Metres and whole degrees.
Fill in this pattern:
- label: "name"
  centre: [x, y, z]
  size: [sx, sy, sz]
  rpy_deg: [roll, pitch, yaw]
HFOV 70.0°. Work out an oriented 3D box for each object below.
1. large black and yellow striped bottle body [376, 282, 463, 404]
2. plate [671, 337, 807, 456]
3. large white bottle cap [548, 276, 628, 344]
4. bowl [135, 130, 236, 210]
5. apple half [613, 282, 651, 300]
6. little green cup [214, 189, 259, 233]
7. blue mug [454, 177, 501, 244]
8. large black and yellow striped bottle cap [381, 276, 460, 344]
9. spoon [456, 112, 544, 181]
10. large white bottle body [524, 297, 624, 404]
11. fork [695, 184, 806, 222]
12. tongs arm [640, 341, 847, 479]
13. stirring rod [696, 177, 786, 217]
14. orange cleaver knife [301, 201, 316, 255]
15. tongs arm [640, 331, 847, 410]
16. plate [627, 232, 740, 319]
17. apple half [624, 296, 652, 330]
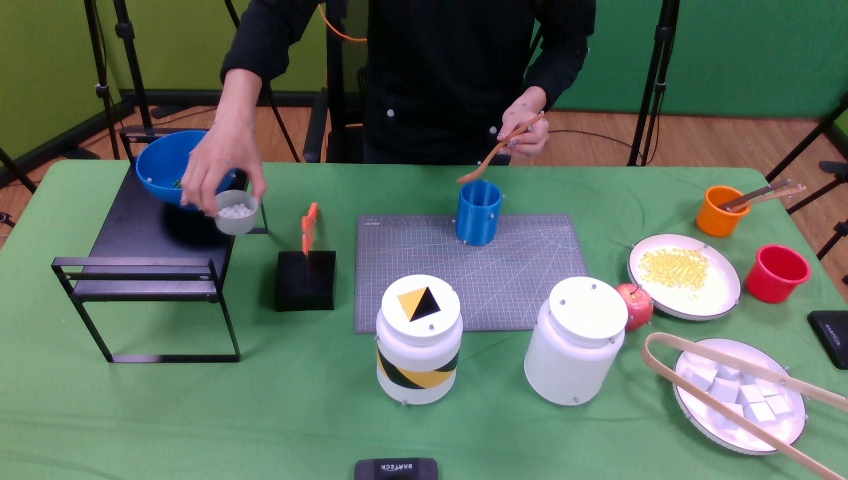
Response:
- label: "large black and yellow striped bottle body"
  centre: [-0.010, 0.155, 0.937]
  size: [0.131, 0.185, 0.130]
  rpy_deg: [2, 47, -2]
- label: "plate"
  centre: [0.503, 0.254, 0.984]
  size: [0.208, 0.039, 0.206]
  rpy_deg: [2, 46, -2]
- label: "large white bottle cap"
  centre: [0.240, 0.100, 0.890]
  size: [0.115, 0.018, 0.114]
  rpy_deg: [3, 47, -3]
- label: "bowl"
  centre: [-0.375, -0.102, 0.977]
  size: [0.151, 0.077, 0.150]
  rpy_deg: [2, 46, -2]
- label: "apple half"
  centre: [0.356, 0.109, 1.086]
  size: [0.081, 0.075, 0.053]
  rpy_deg: [-13, 44, -12]
- label: "little green cup"
  centre: [-0.270, -0.041, 0.874]
  size: [0.061, 0.039, 0.061]
  rpy_deg: [9, 44, -9]
- label: "blue mug"
  centre: [0.106, -0.067, 1.208]
  size: [0.082, 0.106, 0.116]
  rpy_deg: [6, 46, 1]
- label: "large black and yellow striped bottle cap"
  centre: [-0.005, 0.099, 0.875]
  size: [0.115, 0.019, 0.114]
  rpy_deg: [2, 45, -2]
- label: "spoon"
  centre: [0.123, -0.154, 1.015]
  size: [0.021, 0.194, 0.041]
  rpy_deg: [48, 34, -1]
- label: "large white bottle body"
  centre: [0.235, 0.159, 0.952]
  size: [0.131, 0.185, 0.130]
  rpy_deg: [2, 47, -2]
- label: "fork"
  centre: [0.658, -0.074, 1.230]
  size: [0.207, 0.019, 0.028]
  rpy_deg: [-24, 33, 36]
- label: "tongs arm"
  centre: [0.500, 0.278, 0.920]
  size: [0.386, 0.028, 0.028]
  rpy_deg: [34, 59, 22]
- label: "stirring rod"
  centre: [0.648, -0.087, 1.244]
  size: [0.176, 0.006, 0.014]
  rpy_deg: [-25, 50, 29]
- label: "orange cleaver knife"
  centre: [-0.221, -0.027, 1.160]
  size: [0.012, 0.077, 0.210]
  rpy_deg: [-1, 15, -4]
- label: "tongs arm"
  centre: [0.543, 0.226, 0.969]
  size: [0.384, 0.026, 0.050]
  rpy_deg: [22, 52, 13]
- label: "plate"
  centre: [0.489, 0.070, 1.156]
  size: [0.209, 0.038, 0.208]
  rpy_deg: [3, 46, -3]
- label: "apple half"
  centre: [0.368, 0.135, 1.060]
  size: [0.081, 0.081, 0.032]
  rpy_deg: [-11, 43, -15]
